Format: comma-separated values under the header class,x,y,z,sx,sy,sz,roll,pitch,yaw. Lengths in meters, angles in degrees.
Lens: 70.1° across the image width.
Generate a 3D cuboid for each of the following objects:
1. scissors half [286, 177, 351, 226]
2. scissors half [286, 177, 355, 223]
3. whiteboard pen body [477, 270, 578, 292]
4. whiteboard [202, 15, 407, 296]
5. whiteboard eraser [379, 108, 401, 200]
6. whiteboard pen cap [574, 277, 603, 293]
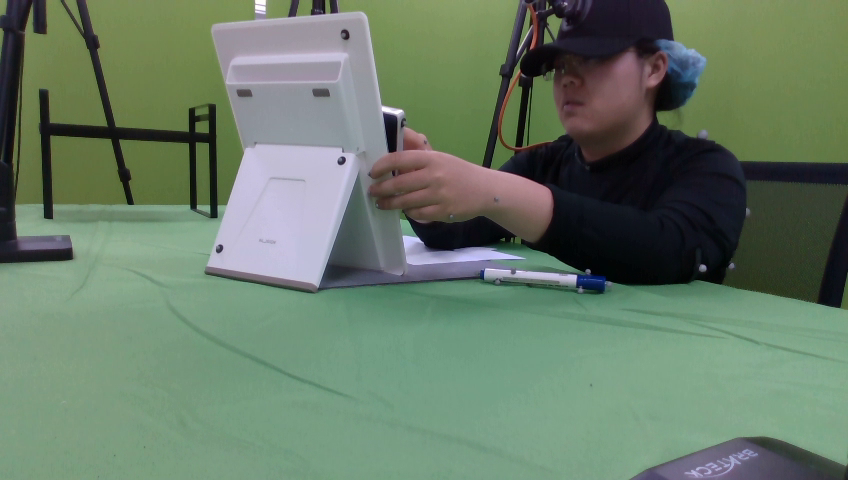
class,x,y,z,sx,sy,sz,roll,pitch,yaw
scissors half,-0.232,-0.085,1.317,0.175,0.013,0.040,38,19,5
scissors half,-0.229,-0.091,1.337,0.175,0.013,0.040,33,14,-13
whiteboard pen body,0.131,0.049,0.706,0.140,0.017,0.017,5,8,18
whiteboard,-0.166,-0.072,0.668,0.216,0.305,0.144,8,30,29
whiteboard eraser,-0.057,-0.097,0.701,0.055,0.112,0.042,19,36,21
whiteboard pen cap,0.186,0.051,0.687,0.033,0.018,0.018,5,8,17
